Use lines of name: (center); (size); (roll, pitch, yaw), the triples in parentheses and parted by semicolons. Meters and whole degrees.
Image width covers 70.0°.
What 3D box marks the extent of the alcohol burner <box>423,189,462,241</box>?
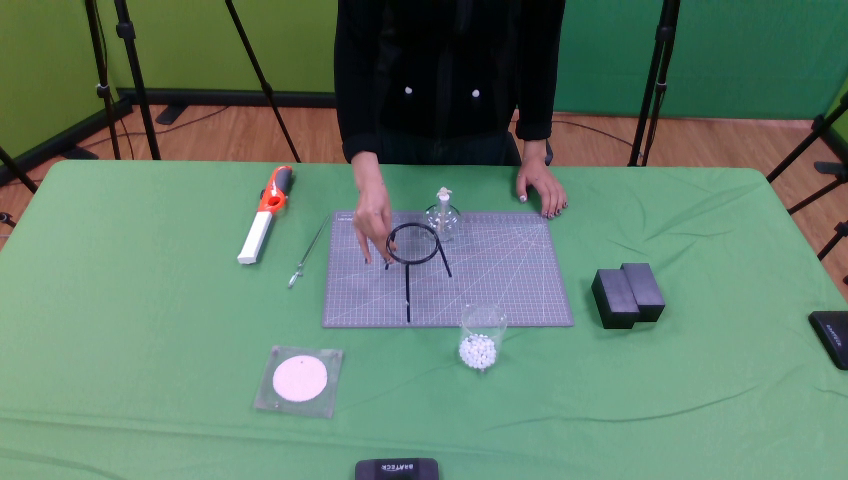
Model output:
alcohol burner: (0.036, -0.055, 1.186); (0.078, 0.120, 0.077); (2, 48, -2)

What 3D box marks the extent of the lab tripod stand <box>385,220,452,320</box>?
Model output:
lab tripod stand: (-0.016, 0.045, 1.054); (0.148, 0.132, 0.147); (0, 51, 0)

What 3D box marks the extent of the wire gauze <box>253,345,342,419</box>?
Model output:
wire gauze: (-0.200, 0.224, 0.979); (0.125, 0.011, 0.121); (7, 47, 0)

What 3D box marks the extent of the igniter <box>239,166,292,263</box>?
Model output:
igniter: (-0.318, -0.060, 1.229); (0.057, 0.025, 0.275); (-2, 45, 10)

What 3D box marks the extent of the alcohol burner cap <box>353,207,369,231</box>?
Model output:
alcohol burner cap: (-0.127, -0.046, 1.215); (0.034, 0.048, 0.033); (3, 46, -3)

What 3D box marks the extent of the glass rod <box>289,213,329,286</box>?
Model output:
glass rod: (-0.221, 0.014, 1.179); (0.008, 0.008, 0.199); (12, 46, 8)

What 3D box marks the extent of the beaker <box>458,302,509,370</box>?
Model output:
beaker: (0.092, 0.159, 0.999); (0.083, 0.101, 0.074); (35, 53, 28)
